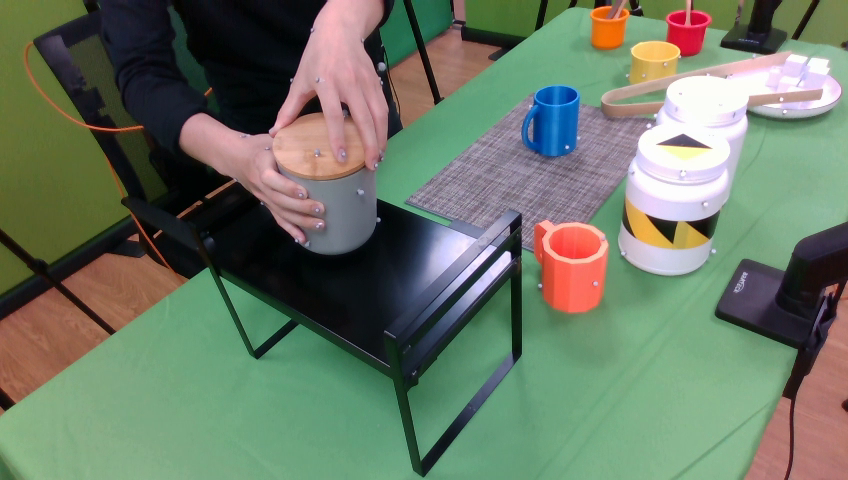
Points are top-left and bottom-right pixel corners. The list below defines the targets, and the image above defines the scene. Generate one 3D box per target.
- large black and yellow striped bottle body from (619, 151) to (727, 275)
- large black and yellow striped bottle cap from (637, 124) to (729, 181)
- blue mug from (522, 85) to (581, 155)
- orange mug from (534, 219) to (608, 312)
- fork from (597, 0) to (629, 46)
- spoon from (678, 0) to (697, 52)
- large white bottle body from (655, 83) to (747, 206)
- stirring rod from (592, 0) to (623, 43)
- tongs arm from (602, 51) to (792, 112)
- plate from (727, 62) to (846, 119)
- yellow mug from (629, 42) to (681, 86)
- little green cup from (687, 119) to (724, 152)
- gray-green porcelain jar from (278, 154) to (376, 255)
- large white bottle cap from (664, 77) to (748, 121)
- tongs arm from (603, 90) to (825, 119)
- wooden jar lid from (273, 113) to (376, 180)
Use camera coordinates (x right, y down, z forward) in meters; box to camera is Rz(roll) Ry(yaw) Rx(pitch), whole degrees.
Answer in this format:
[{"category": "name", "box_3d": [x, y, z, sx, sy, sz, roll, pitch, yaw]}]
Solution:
[{"category": "large black and yellow striped bottle body", "box_3d": [0.354, -0.056, 0.865, 0.131, 0.185, 0.130, -4, 41, 4]}, {"category": "large black and yellow striped bottle cap", "box_3d": [0.346, -0.119, 0.810, 0.115, 0.019, 0.114, -5, 41, 5]}, {"category": "blue mug", "box_3d": [0.233, -0.218, 1.127, 0.117, 0.106, 0.081, -23, 43, -16]}, {"category": "orange mug", "box_3d": [0.200, 0.027, 0.858, 0.084, 0.101, 0.125, -24, 47, -18]}, {"category": "fork", "box_3d": [0.479, -0.558, 1.455, 0.028, 0.019, 0.207, 35, 100, 38]}, {"category": "spoon", "box_3d": [0.614, -0.526, 1.402, 0.041, 0.022, 0.193, 3, 86, 11]}, {"category": "large white bottle body", "box_3d": [0.430, -0.148, 0.959, 0.130, 0.185, 0.130, -4, 41, 4]}, {"category": "stirring rod", "box_3d": [0.460, -0.557, 1.461, 0.014, 0.176, 0.006, 35, 11, 22]}, {"category": "tongs arm", "box_3d": [0.552, -0.320, 1.224, 0.384, 0.027, 0.050, -11, 44, 7]}, {"category": "plate", "box_3d": [0.709, -0.292, 1.198, 0.207, 0.039, 0.206, -4, 40, 4]}, {"category": "yellow mug", "box_3d": [0.495, -0.389, 1.321, 0.100, 0.064, 0.130, -14, 40, -6]}, {"category": "little green cup", "box_3d": [0.513, -0.191, 1.109, 0.061, 0.039, 0.061, -5, 40, 5]}, {"category": "gray-green porcelain jar", "box_3d": [-0.108, -0.054, 0.695, 0.106, 0.127, 0.105, 2, 46, -1]}, {"category": "large white bottle cap", "box_3d": [0.421, -0.212, 0.905, 0.115, 0.018, 0.114, -4, 40, 4]}, {"category": "tongs arm", "box_3d": [0.546, -0.262, 1.163, 0.386, 0.028, 0.028, -1, 49, 18]}, {"category": "wooden jar lid", "box_3d": [-0.106, -0.098, 0.649, 0.108, 0.021, 0.108, 1, 47, -1]}]
